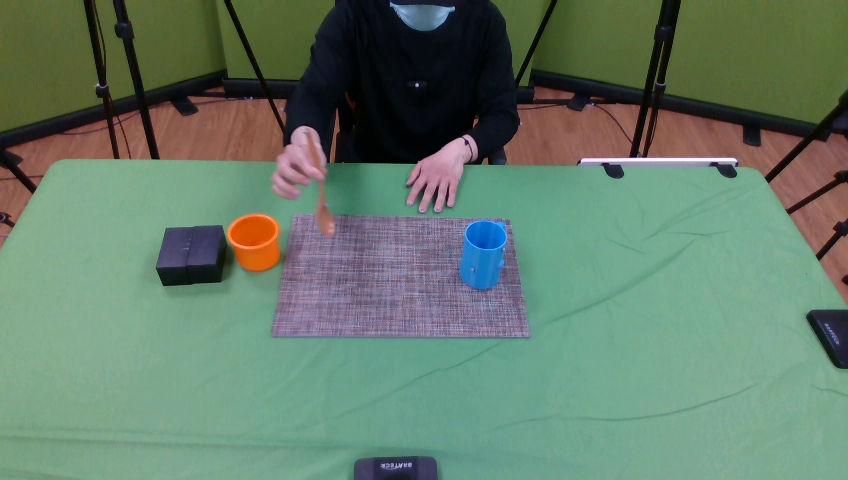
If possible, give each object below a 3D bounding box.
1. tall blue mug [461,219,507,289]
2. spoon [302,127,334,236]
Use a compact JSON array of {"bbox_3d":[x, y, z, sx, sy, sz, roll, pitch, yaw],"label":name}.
[{"bbox_3d":[0.111,0.016,1.122,0.078,0.108,0.106,6,46,4],"label":"tall blue mug"},{"bbox_3d":[-0.175,-0.095,1.005,0.021,0.194,0.041,9,32,22],"label":"spoon"}]
